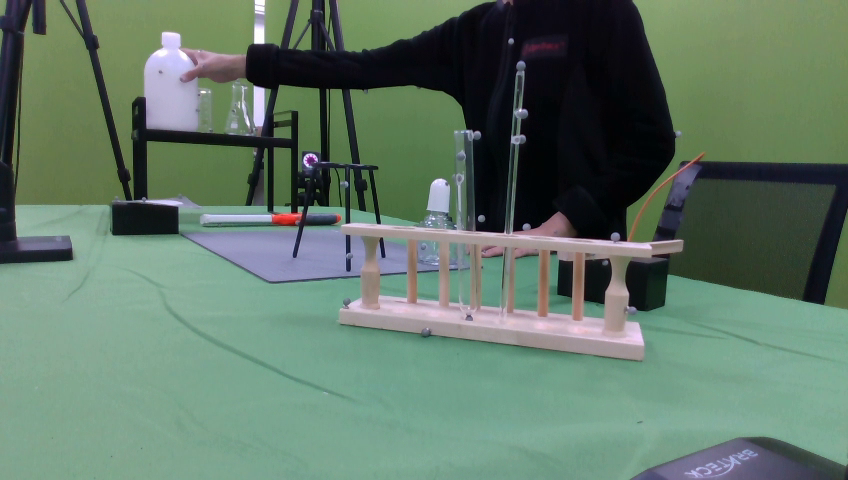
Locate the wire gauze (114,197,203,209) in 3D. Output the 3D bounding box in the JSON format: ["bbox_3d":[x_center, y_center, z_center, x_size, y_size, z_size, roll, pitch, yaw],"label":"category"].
[{"bbox_3d":[-0.447,-0.062,1.015,0.126,0.011,0.121,-2,8,-31],"label":"wire gauze"}]

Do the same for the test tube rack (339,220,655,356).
[{"bbox_3d":[0.056,0.032,0.495,0.242,0.085,0.067,4,7,15],"label":"test tube rack"}]

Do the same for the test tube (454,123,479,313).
[{"bbox_3d":[0.034,-0.016,0.477,0.017,0.150,0.017,-2,9,1],"label":"test tube"}]

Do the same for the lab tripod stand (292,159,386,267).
[{"bbox_3d":[-0.105,-0.039,0.798,0.148,0.131,0.148,2,5,0],"label":"lab tripod stand"}]

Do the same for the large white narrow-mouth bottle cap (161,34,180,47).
[{"bbox_3d":[-0.511,-0.401,1.220,0.038,0.024,0.037,2,7,0],"label":"large white narrow-mouth bottle cap"}]

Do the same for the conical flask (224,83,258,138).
[{"bbox_3d":[-0.422,-0.299,1.395,0.075,0.122,0.075,2,8,0],"label":"conical flask"}]

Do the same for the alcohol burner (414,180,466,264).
[{"bbox_3d":[0.021,-0.028,0.826,0.078,0.119,0.078,0,6,0],"label":"alcohol burner"}]

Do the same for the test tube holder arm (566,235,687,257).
[{"bbox_3d":[0.215,0.006,0.630,0.179,0.015,0.013,-3,10,-30],"label":"test tube holder arm"}]

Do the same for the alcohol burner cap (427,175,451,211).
[{"bbox_3d":[0.023,-0.064,0.822,0.034,0.048,0.034,7,5,0],"label":"alcohol burner cap"}]

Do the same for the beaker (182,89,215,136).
[{"bbox_3d":[-0.511,-0.285,1.353,0.084,0.100,0.073,-2,8,-25],"label":"beaker"}]

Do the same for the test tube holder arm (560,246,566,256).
[{"bbox_3d":[0.173,0.007,0.612,0.088,0.015,0.010,-3,9,-29],"label":"test tube holder arm"}]

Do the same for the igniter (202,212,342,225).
[{"bbox_3d":[-0.298,-0.044,1.216,0.278,0.025,0.057,-2,-2,-32],"label":"igniter"}]

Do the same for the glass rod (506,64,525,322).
[{"bbox_3d":[0.069,-0.030,0.458,0.008,0.199,0.008,0,15,0],"label":"glass rod"}]

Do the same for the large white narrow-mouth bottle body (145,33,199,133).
[{"bbox_3d":[-0.513,-0.318,1.231,0.102,0.194,0.102,2,8,0],"label":"large white narrow-mouth bottle body"}]
